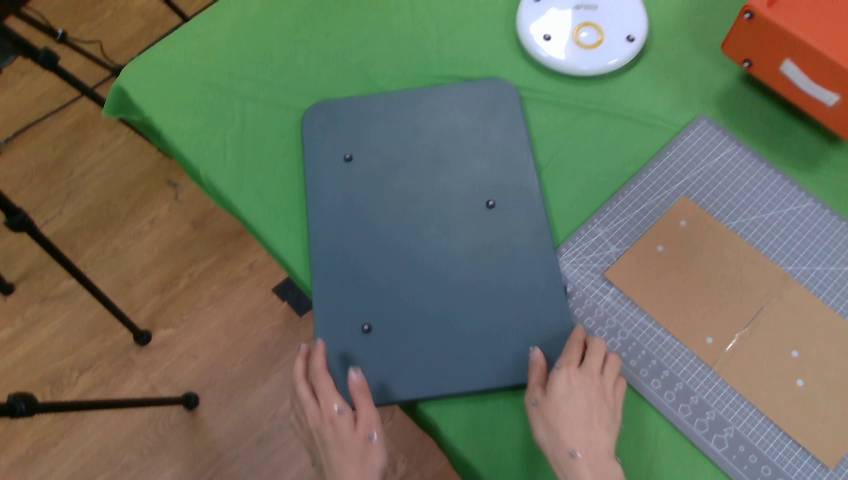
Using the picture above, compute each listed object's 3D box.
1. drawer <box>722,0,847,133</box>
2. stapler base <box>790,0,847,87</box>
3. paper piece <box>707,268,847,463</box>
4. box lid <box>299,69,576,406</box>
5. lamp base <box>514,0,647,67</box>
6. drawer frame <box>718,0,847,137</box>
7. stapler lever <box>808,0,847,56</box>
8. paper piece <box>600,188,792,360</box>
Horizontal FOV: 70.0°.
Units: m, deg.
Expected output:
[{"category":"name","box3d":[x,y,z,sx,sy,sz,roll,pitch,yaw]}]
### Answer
[{"category":"drawer","box3d":[0.464,-0.230,0.635,0.211,0.074,0.193,-40,71,-13]},{"category":"stapler base","box3d":[0.444,-0.226,0.653,0.041,0.024,0.129,-18,65,13]},{"category":"paper piece","box3d":[0.370,0.116,0.585,0.135,0.004,0.134,-42,72,-13]},{"category":"box lid","box3d":[0.002,-0.018,0.657,0.263,0.015,0.368,-8,68,0]},{"category":"lamp base","box3d":[0.185,-0.319,0.677,0.161,0.181,0.177,-10,65,-1]},{"category":"drawer frame","box3d":[0.465,-0.233,0.636,0.213,0.083,0.200,-41,71,-14]},{"category":"stapler lever","box3d":[0.434,-0.236,0.631,0.027,0.040,0.117,-18,63,13]},{"category":"paper piece","box3d":[0.278,0.029,0.625,0.138,0.009,0.135,-42,69,-12]}]
